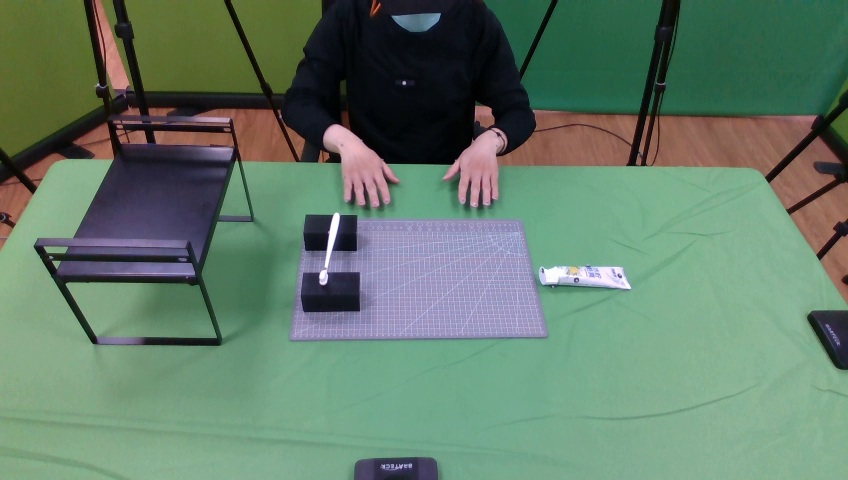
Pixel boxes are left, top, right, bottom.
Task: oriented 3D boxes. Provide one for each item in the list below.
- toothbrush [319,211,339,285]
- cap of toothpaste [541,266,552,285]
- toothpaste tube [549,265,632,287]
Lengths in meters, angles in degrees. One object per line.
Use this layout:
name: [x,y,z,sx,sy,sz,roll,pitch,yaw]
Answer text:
toothbrush: [-0.172,0.009,1.103,0.014,0.017,0.180,-6,44,9]
cap of toothpaste: [0.230,0.065,1.135,0.011,0.037,0.037,-6,47,-11]
toothpaste tube: [0.309,0.068,1.147,0.165,0.034,0.054,0,52,-9]
